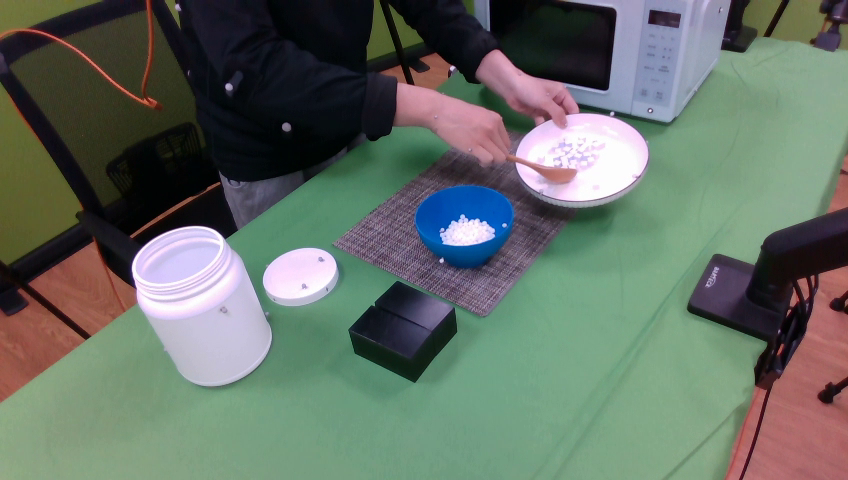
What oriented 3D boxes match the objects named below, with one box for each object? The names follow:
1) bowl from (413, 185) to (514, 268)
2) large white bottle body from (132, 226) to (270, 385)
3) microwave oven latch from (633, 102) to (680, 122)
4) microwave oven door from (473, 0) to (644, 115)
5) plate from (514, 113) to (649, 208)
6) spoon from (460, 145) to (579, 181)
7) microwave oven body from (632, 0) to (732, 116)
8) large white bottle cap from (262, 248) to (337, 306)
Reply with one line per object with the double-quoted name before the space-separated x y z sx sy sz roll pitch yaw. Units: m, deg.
"bowl" 0.063 -0.010 0.922 0.151 0.077 0.150 -4 39 4
"large white bottle body" -0.286 0.085 0.784 0.130 0.185 0.130 -4 41 4
"microwave oven latch" 0.444 -0.249 1.157 0.078 0.029 0.030 21 49 30
"microwave oven door" 0.257 -0.396 1.199 0.353 0.245 0.039 21 48 29
"plate" 0.250 -0.125 0.971 0.209 0.038 0.208 -6 50 8
"spoon" 0.147 -0.120 0.930 0.194 0.041 0.021 14 67 -10
"microwave oven body" 0.377 -0.463 1.267 0.438 0.261 0.327 21 49 30
"large white bottle cap" -0.193 0.056 0.934 0.115 0.018 0.114 -4 41 4
